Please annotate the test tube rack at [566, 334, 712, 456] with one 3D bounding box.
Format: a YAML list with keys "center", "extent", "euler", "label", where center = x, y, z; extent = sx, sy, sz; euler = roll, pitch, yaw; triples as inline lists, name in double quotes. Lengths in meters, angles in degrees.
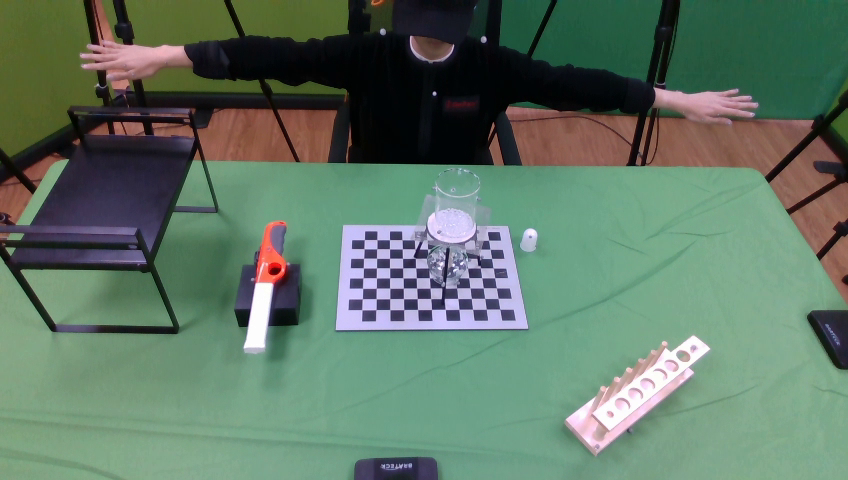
- center: [0.338, 0.228, 0.950]
  extent: [0.242, 0.085, 0.066]
  euler: [-26, 52, -26]
  label: "test tube rack"

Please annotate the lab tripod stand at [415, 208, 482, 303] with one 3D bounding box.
- center: [0.043, 0.019, 1.097]
  extent: [0.148, 0.132, 0.147]
  euler: [0, 46, 0]
  label: "lab tripod stand"

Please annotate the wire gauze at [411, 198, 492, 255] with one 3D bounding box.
- center: [0.049, -0.029, 1.052]
  extent: [0.125, 0.011, 0.121]
  euler: [10, 44, 12]
  label: "wire gauze"

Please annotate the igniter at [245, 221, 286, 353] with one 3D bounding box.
- center: [-0.270, 0.070, 1.040]
  extent: [0.057, 0.025, 0.274]
  euler: [2, 48, -6]
  label: "igniter"

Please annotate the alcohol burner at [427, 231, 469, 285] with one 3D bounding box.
- center: [0.046, 0.027, 1.103]
  extent: [0.078, 0.119, 0.077]
  euler: [3, 45, -3]
  label: "alcohol burner"

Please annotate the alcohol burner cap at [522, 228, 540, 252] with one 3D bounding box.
- center: [0.214, -0.003, 1.198]
  extent: [0.034, 0.048, 0.033]
  euler: [1, 46, -1]
  label: "alcohol burner cap"

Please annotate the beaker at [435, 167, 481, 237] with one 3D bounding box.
- center: [0.054, -0.063, 1.016]
  extent: [0.074, 0.101, 0.083]
  euler: [5, 45, 3]
  label: "beaker"
